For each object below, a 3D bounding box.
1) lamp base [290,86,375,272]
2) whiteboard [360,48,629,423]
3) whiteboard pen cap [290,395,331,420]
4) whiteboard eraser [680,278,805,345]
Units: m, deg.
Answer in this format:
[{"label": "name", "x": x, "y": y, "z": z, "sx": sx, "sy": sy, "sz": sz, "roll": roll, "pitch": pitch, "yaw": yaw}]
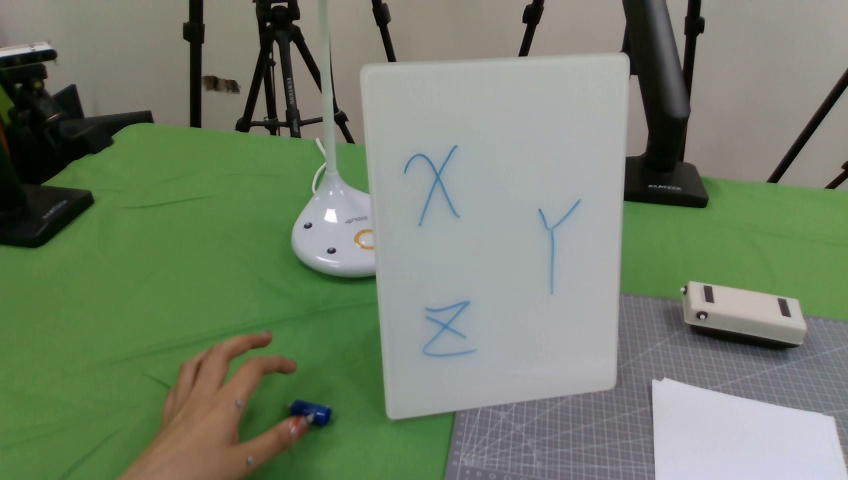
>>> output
[{"label": "lamp base", "x": -0.091, "y": -0.080, "z": 0.717, "sx": 0.161, "sy": 0.182, "sz": 0.177, "roll": -23, "pitch": 39, "yaw": -31}, {"label": "whiteboard", "x": 0.055, "y": -0.014, "z": 0.570, "sx": 0.217, "sy": 0.307, "sz": 0.143, "roll": -5, "pitch": 16, "yaw": -9}, {"label": "whiteboard pen cap", "x": -0.099, "y": 0.147, "z": 0.532, "sx": 0.033, "sy": 0.018, "sz": 0.018, "roll": 8, "pitch": 35, "yaw": 11}, {"label": "whiteboard eraser", "x": 0.327, "y": 0.075, "z": 0.630, "sx": 0.112, "sy": 0.042, "sz": 0.055, "roll": 11, "pitch": 37, "yaw": 13}]
